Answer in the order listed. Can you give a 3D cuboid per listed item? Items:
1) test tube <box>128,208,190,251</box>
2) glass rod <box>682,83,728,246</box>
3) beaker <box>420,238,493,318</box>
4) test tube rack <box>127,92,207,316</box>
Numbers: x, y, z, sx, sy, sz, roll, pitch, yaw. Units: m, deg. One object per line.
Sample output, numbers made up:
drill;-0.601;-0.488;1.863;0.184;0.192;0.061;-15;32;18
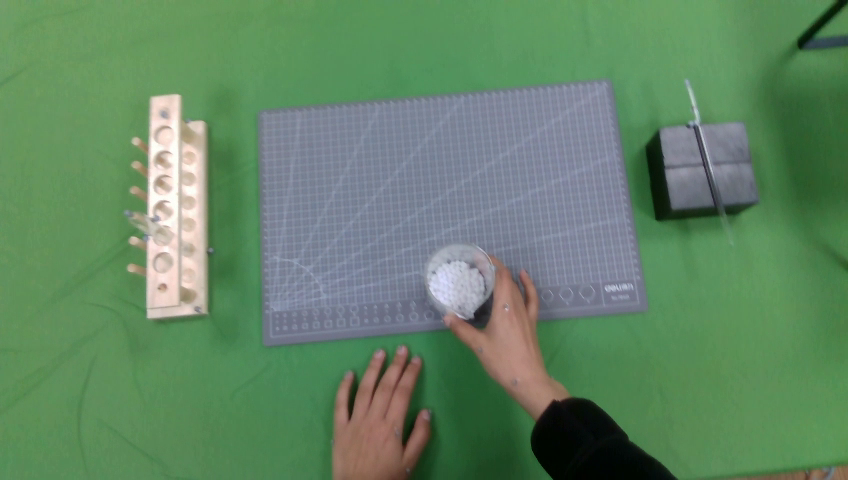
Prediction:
test tube;-0.277;-0.008;0.642;0.017;0.150;0.017;1;78;-4
glass rod;0.320;-0.089;0.692;0.008;0.008;0.198;-8;78;-1
beaker;0.036;0.049;0.666;0.074;0.100;0.083;-9;77;-1
test tube rack;-0.299;-0.039;0.700;0.067;0.085;0.241;-5;78;0
